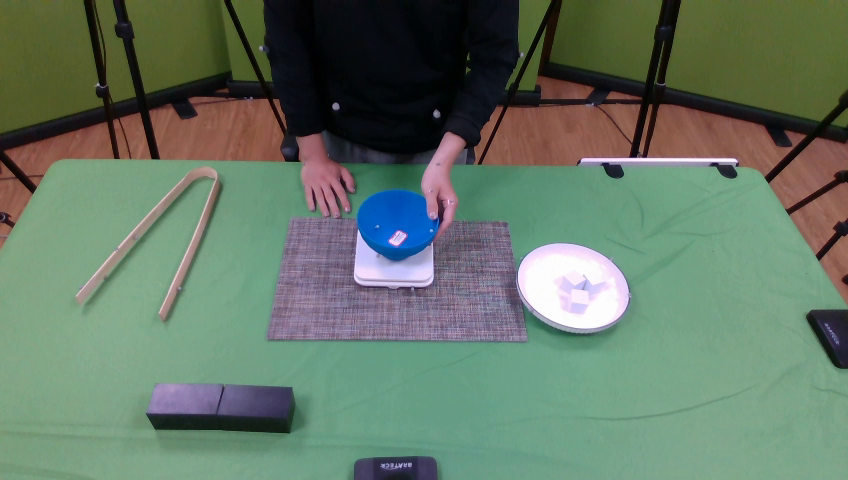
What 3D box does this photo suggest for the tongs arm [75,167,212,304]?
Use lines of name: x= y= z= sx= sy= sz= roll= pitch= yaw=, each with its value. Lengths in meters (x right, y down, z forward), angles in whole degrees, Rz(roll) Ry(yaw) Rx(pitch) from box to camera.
tongs arm: x=-0.526 y=-0.021 z=1.167 sx=0.051 sy=0.026 sz=0.383 roll=13 pitch=46 yaw=7

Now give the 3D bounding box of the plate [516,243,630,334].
plate: x=0.272 y=0.092 z=1.120 sx=0.208 sy=0.039 sz=0.206 roll=2 pitch=46 yaw=-2

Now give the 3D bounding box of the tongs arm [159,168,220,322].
tongs arm: x=-0.446 y=-0.005 z=1.164 sx=0.028 sy=0.028 sz=0.385 roll=1 pitch=46 yaw=0

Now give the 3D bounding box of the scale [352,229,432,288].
scale: x=-0.060 y=0.010 z=1.171 sx=0.149 sy=0.032 sz=0.199 roll=2 pitch=46 yaw=-3

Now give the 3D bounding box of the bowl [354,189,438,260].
bowl: x=-0.053 y=-0.016 z=1.116 sx=0.151 sy=0.077 sz=0.150 roll=3 pitch=47 yaw=-3
